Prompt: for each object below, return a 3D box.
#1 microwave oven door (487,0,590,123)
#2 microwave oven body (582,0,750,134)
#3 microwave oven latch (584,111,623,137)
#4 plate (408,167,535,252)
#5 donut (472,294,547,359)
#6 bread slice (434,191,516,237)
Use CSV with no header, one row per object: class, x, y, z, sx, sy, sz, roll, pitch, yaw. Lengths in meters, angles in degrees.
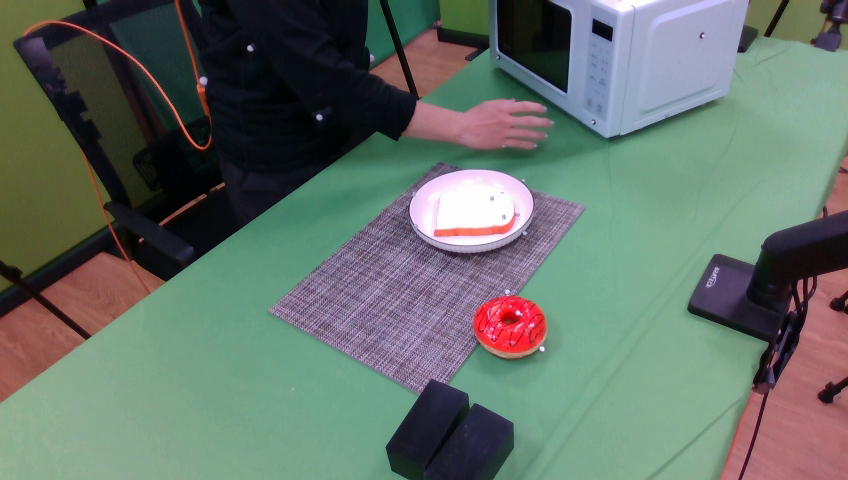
microwave oven door,0.232,-0.420,1.231,0.039,0.245,0.352,-22,43,-16
microwave oven body,0.382,-0.444,1.246,0.327,0.261,0.437,-22,42,-16
microwave oven latch,0.337,-0.222,1.142,0.030,0.029,0.078,-21,42,-14
plate,0.078,-0.047,0.996,0.207,0.039,0.206,-4,41,4
donut,0.114,0.114,0.803,0.099,0.048,0.098,0,40,1
bread slice,0.085,-0.046,0.995,0.131,0.019,0.104,-1,41,7
